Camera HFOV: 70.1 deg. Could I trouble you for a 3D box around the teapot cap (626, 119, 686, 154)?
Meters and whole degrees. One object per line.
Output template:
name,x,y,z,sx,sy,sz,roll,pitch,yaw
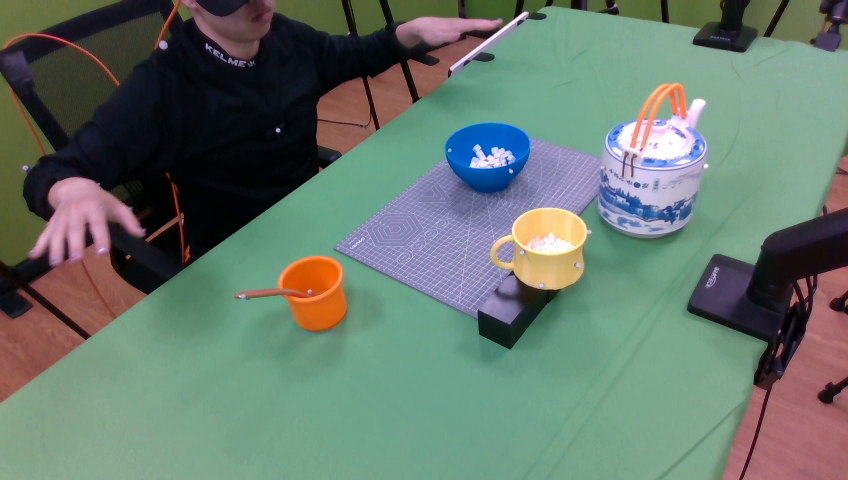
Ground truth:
teapot cap,0.338,-0.153,0.882,0.085,0.044,0.085,-3,38,3

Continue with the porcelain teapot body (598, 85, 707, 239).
porcelain teapot body,0.363,-0.137,0.921,0.144,0.226,0.206,28,51,36

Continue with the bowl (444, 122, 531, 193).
bowl,0.113,-0.136,1.063,0.151,0.077,0.150,-4,41,4

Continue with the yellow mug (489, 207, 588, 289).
yellow mug,0.154,0.013,0.820,0.131,0.064,0.099,-8,40,0

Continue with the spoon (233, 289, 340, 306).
spoon,-0.181,0.075,0.811,0.041,0.195,0.021,18,91,31
